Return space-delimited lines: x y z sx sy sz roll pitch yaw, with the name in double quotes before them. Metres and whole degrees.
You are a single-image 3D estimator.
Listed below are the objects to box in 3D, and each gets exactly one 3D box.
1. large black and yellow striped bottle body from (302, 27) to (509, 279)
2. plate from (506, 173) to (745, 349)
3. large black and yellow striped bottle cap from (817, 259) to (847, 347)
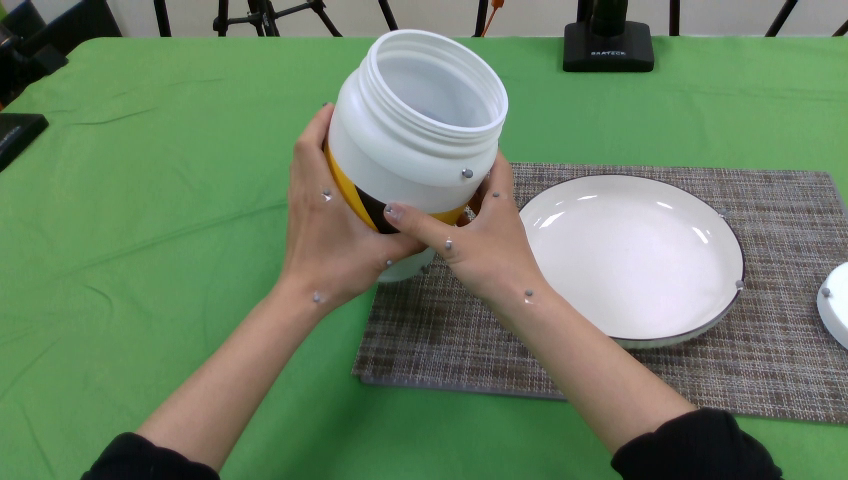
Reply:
"large black and yellow striped bottle body" -0.019 -0.066 0.501 0.131 0.185 0.129 14 50 -17
"plate" 0.180 0.017 0.560 0.207 0.039 0.205 -3 46 4
"large black and yellow striped bottle cap" 0.394 0.060 0.506 0.115 0.019 0.114 -1 48 1
